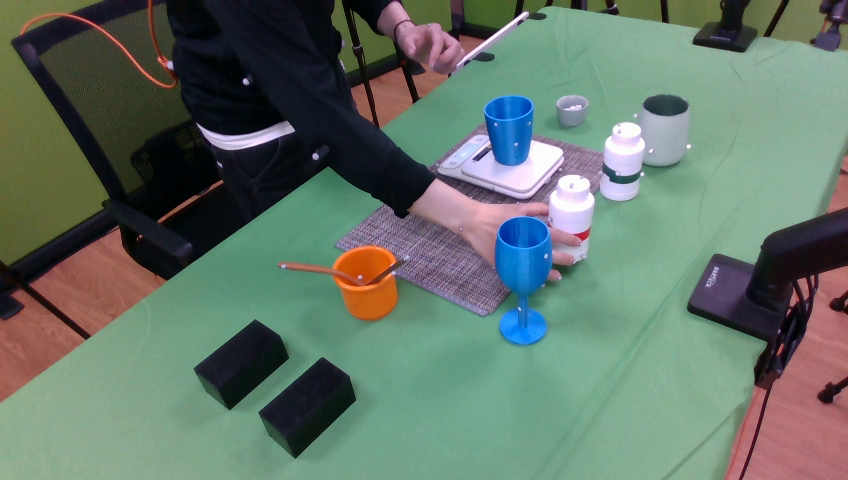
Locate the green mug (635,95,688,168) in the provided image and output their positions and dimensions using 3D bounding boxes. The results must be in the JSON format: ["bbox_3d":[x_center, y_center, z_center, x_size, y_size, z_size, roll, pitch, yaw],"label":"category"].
[{"bbox_3d":[0.421,-0.201,1.081,0.092,0.105,0.125,5,42,15],"label":"green mug"}]

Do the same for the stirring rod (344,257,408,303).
[{"bbox_3d":[-0.068,0.056,0.814,0.014,0.175,0.006,-22,81,-38],"label":"stirring rod"}]

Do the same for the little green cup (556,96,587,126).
[{"bbox_3d":[0.295,-0.258,1.214,0.061,0.039,0.061,-4,42,4],"label":"little green cup"}]

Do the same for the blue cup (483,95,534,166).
[{"bbox_3d":[0.150,-0.187,1.051,0.092,0.101,0.092,-6,41,6],"label":"blue cup"}]

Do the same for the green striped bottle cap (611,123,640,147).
[{"bbox_3d":[0.322,-0.168,0.963,0.044,0.020,0.044,-3,41,3],"label":"green striped bottle cap"}]

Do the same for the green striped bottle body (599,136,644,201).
[{"bbox_3d":[0.326,-0.128,0.997,0.063,0.120,0.063,-4,41,4],"label":"green striped bottle body"}]

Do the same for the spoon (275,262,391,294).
[{"bbox_3d":[-0.120,0.050,0.830,0.041,0.195,0.021,31,97,45],"label":"spoon"}]

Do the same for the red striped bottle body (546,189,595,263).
[{"bbox_3d":[0.211,-0.031,0.872,0.063,0.120,0.062,-3,38,3],"label":"red striped bottle body"}]

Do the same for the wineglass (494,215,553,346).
[{"bbox_3d":[0.127,0.055,0.770,0.074,0.173,0.073,-4,40,4],"label":"wineglass"}]

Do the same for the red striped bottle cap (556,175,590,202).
[{"bbox_3d":[0.207,-0.072,0.838,0.044,0.018,0.044,0,39,0],"label":"red striped bottle cap"}]

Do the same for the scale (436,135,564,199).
[{"bbox_3d":[0.137,-0.142,1.101,0.199,0.032,0.149,22,48,30],"label":"scale"}]
